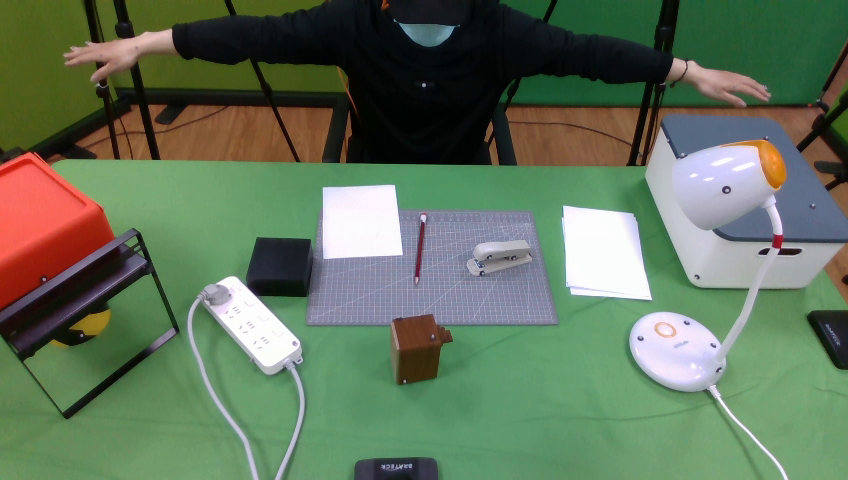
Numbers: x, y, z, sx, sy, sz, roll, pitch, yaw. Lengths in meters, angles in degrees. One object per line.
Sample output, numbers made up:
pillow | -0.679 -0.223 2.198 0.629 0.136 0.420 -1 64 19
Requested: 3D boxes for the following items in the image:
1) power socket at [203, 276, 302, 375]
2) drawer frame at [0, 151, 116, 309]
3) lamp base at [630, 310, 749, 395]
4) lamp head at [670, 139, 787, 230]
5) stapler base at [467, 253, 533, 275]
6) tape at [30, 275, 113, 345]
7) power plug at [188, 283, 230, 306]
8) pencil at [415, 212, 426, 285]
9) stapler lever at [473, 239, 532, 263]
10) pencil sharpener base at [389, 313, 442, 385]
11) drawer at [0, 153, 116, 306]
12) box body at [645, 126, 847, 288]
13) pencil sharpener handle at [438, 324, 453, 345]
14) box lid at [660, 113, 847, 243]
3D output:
power socket | -0.297 0.141 1.034 0.072 0.033 0.225 -34 58 -30
drawer frame | -0.604 -0.013 0.875 0.201 0.083 0.213 31 52 23
lamp base | 0.447 0.142 0.984 0.161 0.181 0.178 -24 55 -24
lamp head | 0.415 -0.079 0.812 0.113 0.123 0.112 13 70 -37
stapler base | 0.148 0.034 1.171 0.131 0.024 0.041 -12 50 -17
tape | -0.593 0.117 1.021 0.117 0.053 0.116 3 46 -2
power plug | -0.368 0.099 1.037 0.072 0.053 0.035 -24 52 -26
pencil | -0.007 0.014 1.190 0.012 0.012 0.193 5 47 1
stapler lever | 0.150 0.017 1.155 0.118 0.040 0.026 -13 50 -17
pencil sharpener base | -0.013 0.175 0.971 0.077 0.107 0.061 -8 47 -11
drawer | -0.601 -0.015 0.880 0.193 0.073 0.211 32 53 23
box body | 0.625 -0.080 1.222 0.254 0.161 0.361 0 46 -3
pencil sharpener handle | 0.036 0.155 0.976 0.031 0.068 0.036 -8 69 -11
box lid | 0.628 -0.133 1.170 0.263 0.015 0.369 1 46 -3
